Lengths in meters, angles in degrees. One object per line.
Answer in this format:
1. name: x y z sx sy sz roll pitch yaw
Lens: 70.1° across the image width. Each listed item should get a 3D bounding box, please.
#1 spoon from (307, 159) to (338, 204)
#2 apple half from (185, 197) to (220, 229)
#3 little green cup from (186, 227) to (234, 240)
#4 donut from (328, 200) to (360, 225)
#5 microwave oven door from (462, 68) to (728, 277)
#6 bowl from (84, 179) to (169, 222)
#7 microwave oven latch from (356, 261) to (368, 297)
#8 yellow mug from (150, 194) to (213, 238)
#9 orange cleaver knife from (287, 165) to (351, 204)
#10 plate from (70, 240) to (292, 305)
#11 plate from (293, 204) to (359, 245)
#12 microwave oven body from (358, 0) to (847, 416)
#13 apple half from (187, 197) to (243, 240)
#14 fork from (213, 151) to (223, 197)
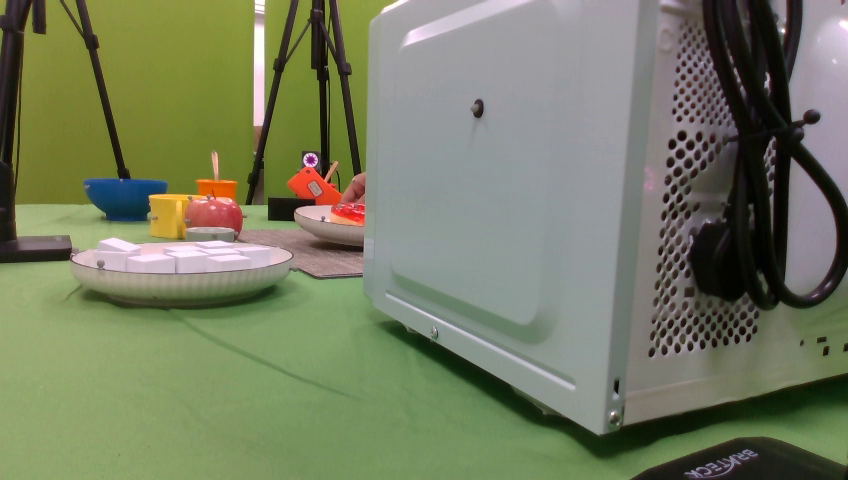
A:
1. spoon: -0.257 -0.147 1.567 0.041 0.022 0.193 2 51 19
2. apple half: -0.338 -0.031 0.927 0.032 0.081 0.081 12 12 31
3. little green cup: -0.285 0.005 0.805 0.061 0.038 0.061 2 8 0
4. donut: -0.106 -0.036 0.972 0.099 0.048 0.099 9 12 -2
5. microwave oven door: 0.205 -0.096 0.812 0.354 0.243 0.039 9 10 41
6. bowl: -0.584 -0.078 1.194 0.151 0.077 0.151 3 8 0
7. microwave oven latch: -0.020 0.033 0.530 0.079 0.029 0.030 -1 7 -27
8. yellow mug: -0.401 -0.040 1.003 0.100 0.064 0.130 -1 9 -20
9. orange cleaver knife: -0.211 -0.093 1.382 0.212 0.077 0.012 33 1 -15
10. plate: -0.242 0.031 0.618 0.208 0.039 0.207 2 8 0
11. plate: -0.105 -0.024 0.971 0.209 0.038 0.209 6 11 -1
12. microwave oven body: 0.210 -0.047 0.475 0.444 0.260 0.324 -1 7 -28
13. apple half: -0.305 -0.026 0.907 0.053 0.074 0.081 12 8 31
14. fork: -0.493 -0.143 1.442 0.028 0.018 0.206 -3 52 -18
